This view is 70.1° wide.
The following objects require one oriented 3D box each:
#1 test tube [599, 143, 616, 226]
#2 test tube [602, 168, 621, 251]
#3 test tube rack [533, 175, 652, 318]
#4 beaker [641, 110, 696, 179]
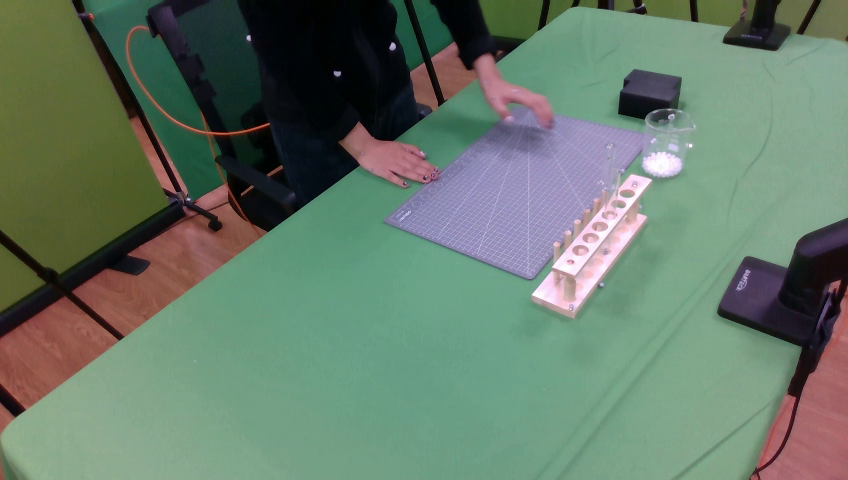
[{"bbox_3d":[0.273,-0.081,0.909,0.017,0.151,0.017,-4,42,4],"label":"test tube"},{"bbox_3d":[0.264,-0.039,0.854,0.017,0.151,0.017,-5,44,6],"label":"test tube"},{"bbox_3d":[0.250,-0.001,0.889,0.066,0.085,0.243,23,49,32],"label":"test tube rack"},{"bbox_3d":[0.415,-0.161,1.035,0.083,0.101,0.074,19,48,29],"label":"beaker"}]
